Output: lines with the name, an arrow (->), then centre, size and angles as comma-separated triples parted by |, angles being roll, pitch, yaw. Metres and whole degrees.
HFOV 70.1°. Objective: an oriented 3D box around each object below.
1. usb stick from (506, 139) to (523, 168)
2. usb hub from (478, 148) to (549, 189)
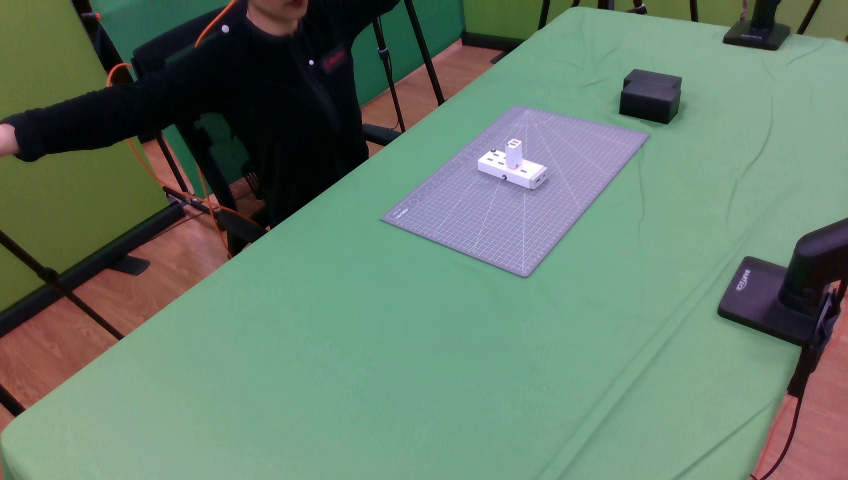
usb stick -> 0.160, -0.148, 1.074 | 0.021, 0.059, 0.027 | 24, 48, 33
usb hub -> 0.161, -0.131, 1.099 | 0.124, 0.025, 0.049 | 26, 51, 34
